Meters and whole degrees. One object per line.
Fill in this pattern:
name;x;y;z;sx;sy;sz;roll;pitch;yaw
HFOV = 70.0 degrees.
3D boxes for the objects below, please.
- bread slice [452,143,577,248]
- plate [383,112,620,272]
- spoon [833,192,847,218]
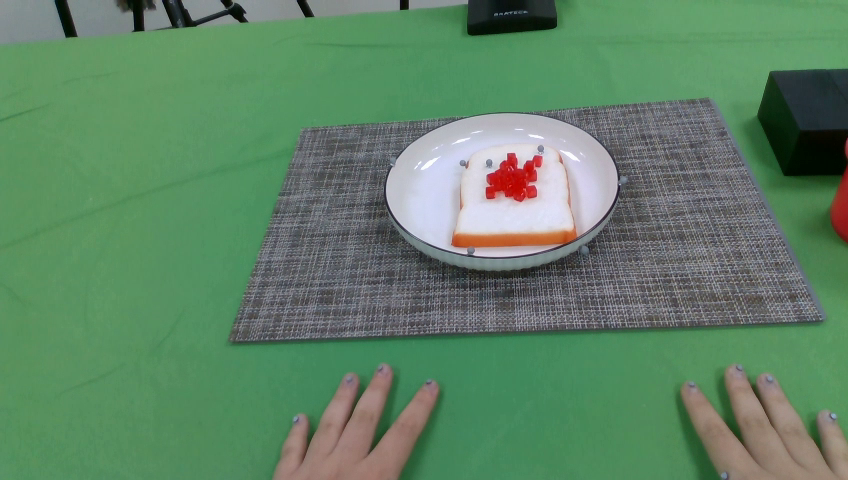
bread slice;0.080;-0.044;0.552;0.105;0.019;0.130;-1;45;8
plate;0.068;-0.044;0.551;0.209;0.038;0.207;-5;44;5
spoon;0.403;-0.055;0.435;0.022;0.193;0.041;44;49;-12
